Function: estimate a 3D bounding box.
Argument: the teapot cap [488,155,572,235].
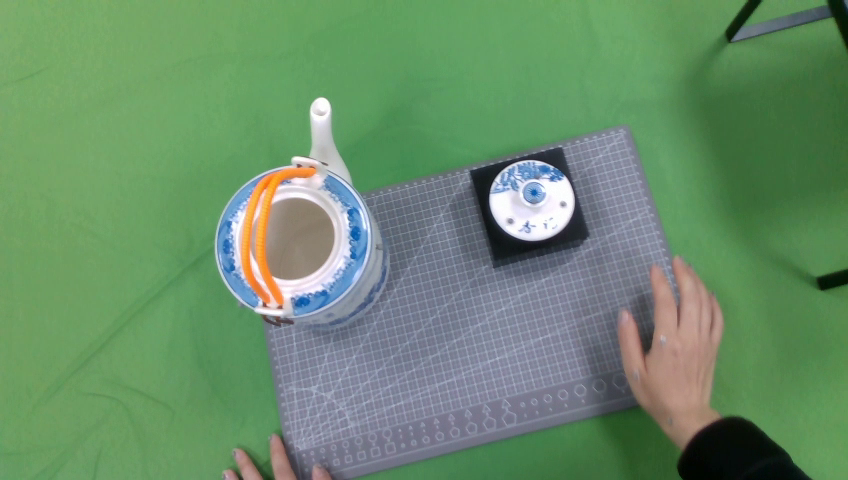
[{"bbox_3d":[0.106,-0.046,0.604,0.085,0.044,0.084,-1,76,4],"label":"teapot cap"}]

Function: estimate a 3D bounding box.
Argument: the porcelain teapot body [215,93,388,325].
[{"bbox_3d":[-0.112,-0.027,0.573,0.145,0.226,0.204,7,79,5],"label":"porcelain teapot body"}]
